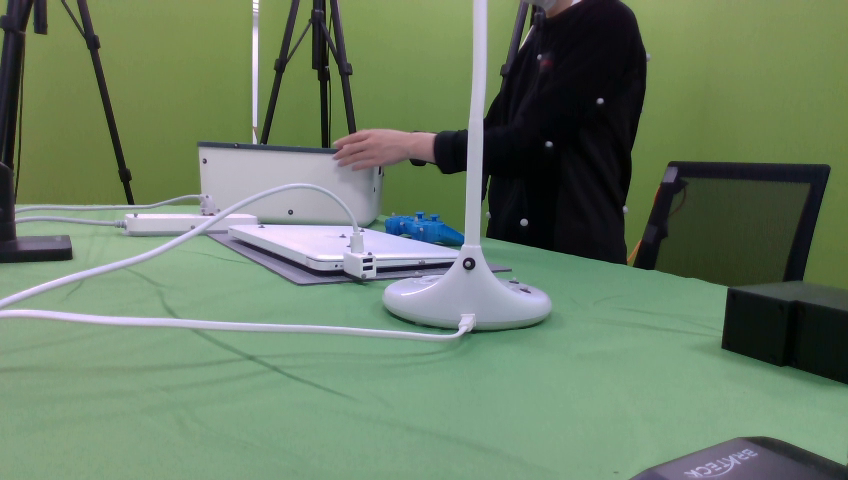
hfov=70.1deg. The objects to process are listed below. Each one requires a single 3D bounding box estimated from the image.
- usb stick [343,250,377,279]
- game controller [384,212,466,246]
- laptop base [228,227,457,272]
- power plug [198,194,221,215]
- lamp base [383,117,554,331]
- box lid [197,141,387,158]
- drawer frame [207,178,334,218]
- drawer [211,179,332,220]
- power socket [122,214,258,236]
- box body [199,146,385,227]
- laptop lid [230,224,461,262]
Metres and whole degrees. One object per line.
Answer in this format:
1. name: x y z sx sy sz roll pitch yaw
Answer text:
1. usb stick: -0.076 0.026 0.687 0.021 0.027 0.059 -8 8 -31
2. game controller: -0.003 -0.021 1.074 0.097 0.051 0.154 -4 9 -32
3. laptop base: -0.122 0.011 0.889 0.237 0.023 0.352 2 6 -35
4. power plug: -0.387 -0.055 1.089 0.035 0.052 0.072 -1 7 -22
5. lamp base: 0.045 -0.019 0.547 0.161 0.180 0.179 2 10 -4
6. box lid: -0.275 -0.197 1.326 0.372 0.015 0.263 4 7 1
7. drawer frame: -0.327 -0.093 1.328 0.213 0.082 0.202 -1 5 7
8. drawer: -0.328 -0.095 1.332 0.212 0.073 0.194 5 9 6
9. power socket: -0.398 -0.028 1.049 0.228 0.032 0.072 -3 8 -34
10. box body: -0.276 -0.124 1.335 0.364 0.160 0.254 3 7 1
11. laptop lid: -0.120 0.000 0.888 0.243 0.013 0.355 1 7 -33
